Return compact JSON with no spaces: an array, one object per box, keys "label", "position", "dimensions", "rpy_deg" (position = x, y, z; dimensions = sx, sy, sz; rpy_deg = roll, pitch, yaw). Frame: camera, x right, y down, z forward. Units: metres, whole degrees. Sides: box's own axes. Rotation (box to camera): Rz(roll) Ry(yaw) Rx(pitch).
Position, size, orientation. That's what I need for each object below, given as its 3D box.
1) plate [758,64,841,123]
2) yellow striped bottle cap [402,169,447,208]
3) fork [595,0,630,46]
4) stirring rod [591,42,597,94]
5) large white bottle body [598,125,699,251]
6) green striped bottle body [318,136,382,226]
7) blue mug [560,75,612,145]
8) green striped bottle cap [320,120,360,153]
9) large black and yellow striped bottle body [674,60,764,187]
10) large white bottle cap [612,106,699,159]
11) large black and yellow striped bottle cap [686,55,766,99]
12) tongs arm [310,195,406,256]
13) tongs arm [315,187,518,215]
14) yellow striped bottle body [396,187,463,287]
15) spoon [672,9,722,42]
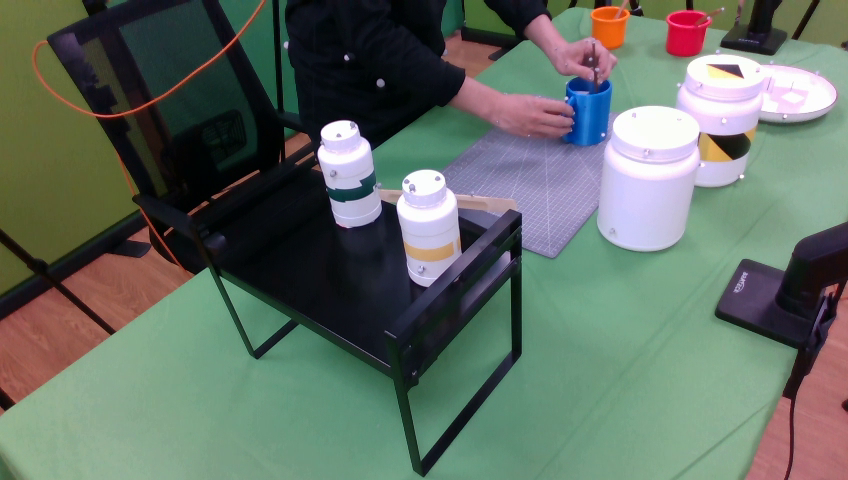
[{"label":"plate","position":[0.694,-0.283,1.189],"dimensions":[0.207,0.039,0.206],"rpy_deg":[-4,40,4]},{"label":"yellow striped bottle cap","position":[0.000,-0.052,0.605],"dimensions":[0.044,0.019,0.044],"rpy_deg":[-5,43,5]},{"label":"fork","position":[0.480,-0.556,1.453],"dimensions":[0.028,0.019,0.207],"rpy_deg":[41,104,42]},{"label":"stirring rod","position":[0.310,-0.274,1.092],"dimensions":[0.006,0.177,0.014],"rpy_deg":[-2,42,18]},{"label":"large white bottle body","position":[0.334,-0.089,0.906],"dimensions":[0.130,0.185,0.130],"rpy_deg":[-5,41,5]},{"label":"green striped bottle body","position":[-0.090,-0.080,0.733],"dimensions":[0.063,0.120,0.063],"rpy_deg":[-5,41,4]},{"label":"blue mug","position":[0.298,-0.239,1.142],"dimensions":[0.117,0.106,0.081],"rpy_deg":[-32,46,-25]},{"label":"green striped bottle cap","position":[-0.097,-0.120,0.699],"dimensions":[0.044,0.020,0.044],"rpy_deg":[-3,41,3]},{"label":"large black and yellow striped bottle body","position":[0.482,-0.196,1.008],"dimensions":[0.131,0.185,0.130],"rpy_deg":[-4,41,4]},{"label":"large white bottle cap","position":[0.325,-0.153,0.850],"dimensions":[0.115,0.018,0.114],"rpy_deg":[-4,41,4]},{"label":"large black and yellow striped bottle cap","position":[0.474,-0.258,0.952],"dimensions":[0.115,0.019,0.114],"rpy_deg":[-5,41,5]},{"label":"tongs arm","position":[-0.078,-0.013,0.944],"dimensions":[0.028,0.028,0.384],"rpy_deg":[-42,39,-23]},{"label":"tongs arm","position":[-0.028,-0.060,0.988],"dimensions":[0.382,0.027,0.051],"rpy_deg":[10,45,36]},{"label":"yellow striped bottle body","position":[0.006,-0.013,0.638],"dimensions":[0.063,0.121,0.062],"rpy_deg":[-5,41,4]},{"label":"spoon","position":[0.606,-0.476,1.345],"dimensions":[0.042,0.021,0.193],"rpy_deg":[-6,-3,-2]}]
